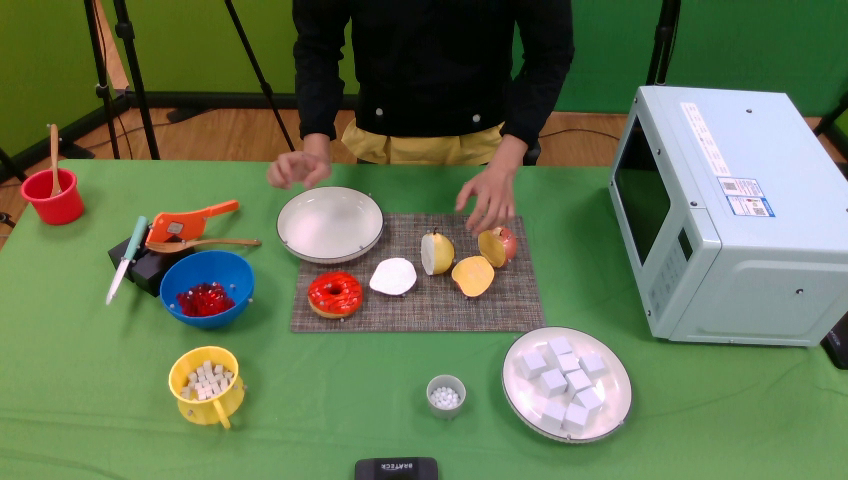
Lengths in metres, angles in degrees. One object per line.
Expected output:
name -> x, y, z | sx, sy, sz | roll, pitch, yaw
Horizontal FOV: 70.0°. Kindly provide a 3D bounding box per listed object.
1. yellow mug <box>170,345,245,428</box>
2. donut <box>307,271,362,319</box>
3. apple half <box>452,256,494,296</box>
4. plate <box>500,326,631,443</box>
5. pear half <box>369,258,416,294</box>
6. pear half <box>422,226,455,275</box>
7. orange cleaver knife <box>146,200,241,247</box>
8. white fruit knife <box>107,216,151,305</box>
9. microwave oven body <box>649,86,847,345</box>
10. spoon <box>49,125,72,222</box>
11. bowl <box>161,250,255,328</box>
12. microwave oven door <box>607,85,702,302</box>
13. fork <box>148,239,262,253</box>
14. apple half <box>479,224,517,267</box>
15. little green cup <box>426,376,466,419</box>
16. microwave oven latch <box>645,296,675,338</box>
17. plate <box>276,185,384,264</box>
yellow mug -> -0.322, 0.230, 0.922 | 0.100, 0.064, 0.130 | -24, 53, -25
donut -> -0.157, 0.097, 1.073 | 0.099, 0.048, 0.098 | 4, 45, -4
apple half -> 0.095, 0.070, 1.120 | 0.081, 0.033, 0.081 | -7, 62, 13
plate -> 0.224, 0.233, 0.978 | 0.208, 0.039, 0.206 | 2, 46, -2
pear half -> -0.058, 0.072, 1.112 | 0.088, 0.031, 0.070 | -23, 64, -12
pear half -> 0.030, 0.012, 1.122 | 0.056, 0.110, 0.076 | -17, 52, -18
orange cleaver knife -> -0.435, -0.033, 1.157 | 0.012, 0.077, 0.211 | 31, 26, 19
white fruit knife -> -0.518, 0.032, 1.066 | 0.027, 0.016, 0.206 | -18, 45, 19
microwave oven body -> 0.568, -0.053, 1.118 | 0.326, 0.261, 0.439 | 2, 45, -1
spoon -> -0.717, -0.131, 1.189 | 0.041, 0.021, 0.193 | -3, 90, -7
bowl -> -0.362, 0.097, 1.040 | 0.151, 0.077, 0.150 | 2, 45, -2
microwave oven door -> 0.423, -0.094, 1.140 | 0.039, 0.245, 0.353 | 2, 46, -1
fork -> -0.398, 0.008, 1.117 | 0.208, 0.019, 0.028 | -5, 35, -37
apple half -> 0.148, 0.008, 1.160 | 0.053, 0.075, 0.080 | -24, 48, -30
little green cup -> 0.033, 0.248, 0.950 | 0.061, 0.039, 0.061 | 2, 46, -2
microwave oven latch -> 0.412, 0.134, 1.061 | 0.030, 0.029, 0.078 | 3, 45, 0
plate -> -0.184, -0.027, 1.194 | 0.209, 0.038, 0.208 | 2, 46, -2
